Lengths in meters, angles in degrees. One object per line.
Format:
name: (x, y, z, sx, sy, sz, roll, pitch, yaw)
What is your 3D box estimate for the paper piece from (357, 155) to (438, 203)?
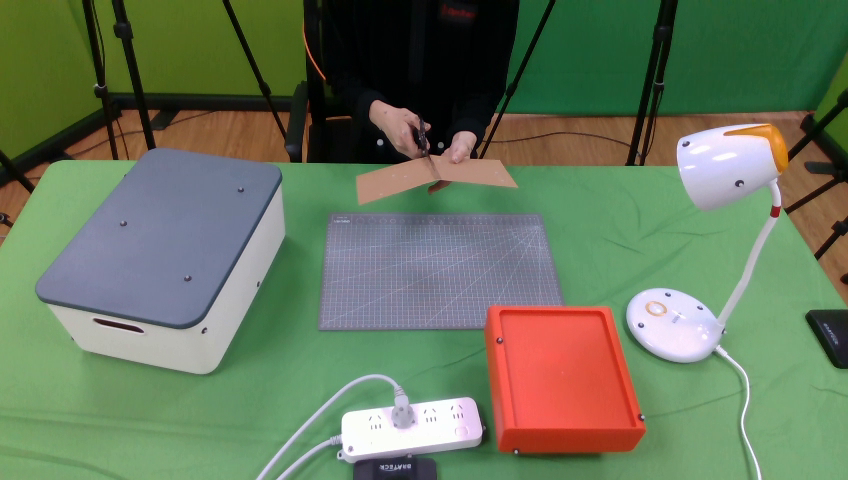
paper piece: (-0.048, -0.107, 1.019, 0.135, 0.004, 0.135, -15, 27, 2)

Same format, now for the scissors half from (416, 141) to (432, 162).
scissors half: (0.001, -0.156, 1.110, 0.013, 0.040, 0.174, -3, 13, -7)

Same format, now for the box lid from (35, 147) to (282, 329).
box lid: (-0.411, -0.023, 0.987, 0.263, 0.015, 0.369, 10, 47, 5)

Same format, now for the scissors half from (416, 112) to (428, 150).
scissors half: (0.001, -0.177, 1.098, 0.013, 0.040, 0.174, -7, 48, -4)

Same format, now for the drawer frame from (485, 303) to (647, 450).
drawer frame: (0.204, 0.202, 0.917, 0.202, 0.083, 0.212, 1, 47, -4)

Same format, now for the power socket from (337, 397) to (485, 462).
power socket: (-0.018, 0.285, 0.915, 0.227, 0.033, 0.071, -4, 46, -8)

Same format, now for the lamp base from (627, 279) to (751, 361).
lamp base: (0.460, 0.100, 1.027, 0.178, 0.181, 0.160, 27, 51, 17)

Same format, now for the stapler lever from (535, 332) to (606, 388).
stapler lever: (0.225, 0.182, 0.929, 0.118, 0.040, 0.027, 27, 34, 15)

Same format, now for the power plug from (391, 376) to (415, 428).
power plug: (-0.031, 0.249, 0.917, 0.035, 0.053, 0.072, 3, 46, -1)

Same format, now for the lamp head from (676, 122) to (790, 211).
lamp head: (0.423, -0.104, 0.819, 0.122, 0.113, 0.112, -13, 33, 40)

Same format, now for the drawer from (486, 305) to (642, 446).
drawer: (0.202, 0.200, 0.918, 0.195, 0.073, 0.210, 2, 47, -4)

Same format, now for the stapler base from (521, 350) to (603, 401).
stapler base: (0.217, 0.203, 0.942, 0.130, 0.024, 0.041, 26, 34, 16)

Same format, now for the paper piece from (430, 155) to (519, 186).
paper piece: (0.080, -0.121, 1.033, 0.136, 0.009, 0.137, 7, 23, -11)

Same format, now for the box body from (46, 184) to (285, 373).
box body: (-0.414, 0.029, 1.039, 0.254, 0.161, 0.362, 10, 46, 5)
